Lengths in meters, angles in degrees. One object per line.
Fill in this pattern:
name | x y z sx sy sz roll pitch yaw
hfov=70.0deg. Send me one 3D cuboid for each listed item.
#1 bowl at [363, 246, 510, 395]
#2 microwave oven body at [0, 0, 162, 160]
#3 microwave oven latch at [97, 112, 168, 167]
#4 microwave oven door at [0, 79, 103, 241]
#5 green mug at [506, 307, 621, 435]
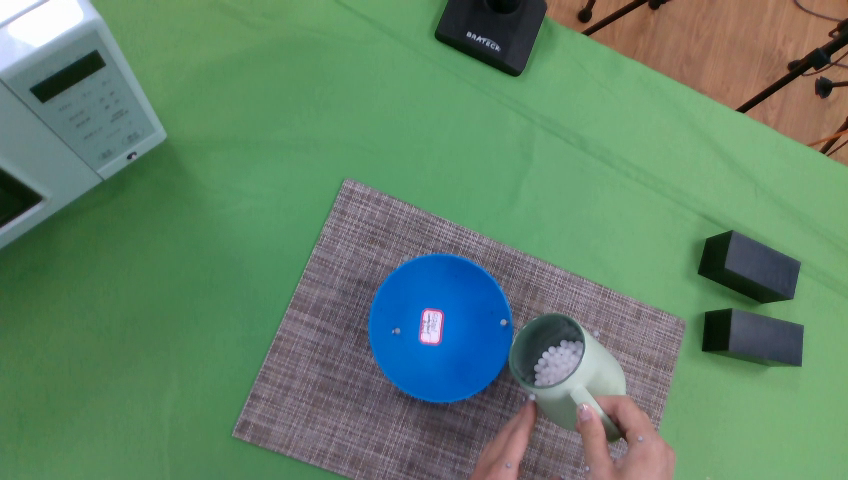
bowl | 0.007 0.086 0.642 0.152 0.077 0.150 2 79 -11
microwave oven body | -0.508 -0.132 0.473 0.441 0.260 0.326 -40 90 -15
microwave oven latch | -0.301 -0.108 0.615 0.079 0.029 0.030 -38 90 -15
microwave oven door | -0.445 0.005 0.457 0.355 0.244 0.039 -40 89 -16
green mug | 0.145 0.135 0.590 0.092 0.124 0.106 -39 131 5
